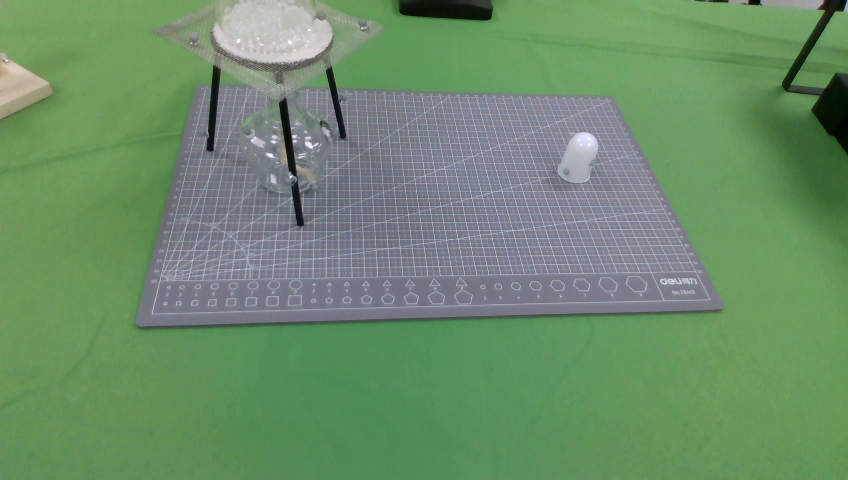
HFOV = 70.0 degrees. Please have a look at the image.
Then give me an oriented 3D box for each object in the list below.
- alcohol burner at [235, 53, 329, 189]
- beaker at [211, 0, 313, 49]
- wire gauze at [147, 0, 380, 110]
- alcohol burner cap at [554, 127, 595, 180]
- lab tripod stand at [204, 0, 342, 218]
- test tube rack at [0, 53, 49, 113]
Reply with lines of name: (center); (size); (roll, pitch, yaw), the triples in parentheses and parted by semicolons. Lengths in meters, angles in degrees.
alcohol burner: (-0.117, -0.101, 0.501); (0.078, 0.120, 0.077); (5, 47, -5)
beaker: (-0.114, -0.189, 0.412); (0.073, 0.101, 0.084); (30, 52, 18)
wire gauze: (-0.115, -0.156, 0.449); (0.124, 0.011, 0.121); (32, 54, 14)
alcohol burner cap: (0.144, -0.084, 0.573); (0.034, 0.048, 0.033); (4, 47, -3)
lab tripod stand: (-0.120, -0.113, 0.497); (0.148, 0.132, 0.147); (6, 48, -6)
test tube rack: (-0.449, -0.119, 0.490); (0.066, 0.086, 0.241); (29, 50, 17)
